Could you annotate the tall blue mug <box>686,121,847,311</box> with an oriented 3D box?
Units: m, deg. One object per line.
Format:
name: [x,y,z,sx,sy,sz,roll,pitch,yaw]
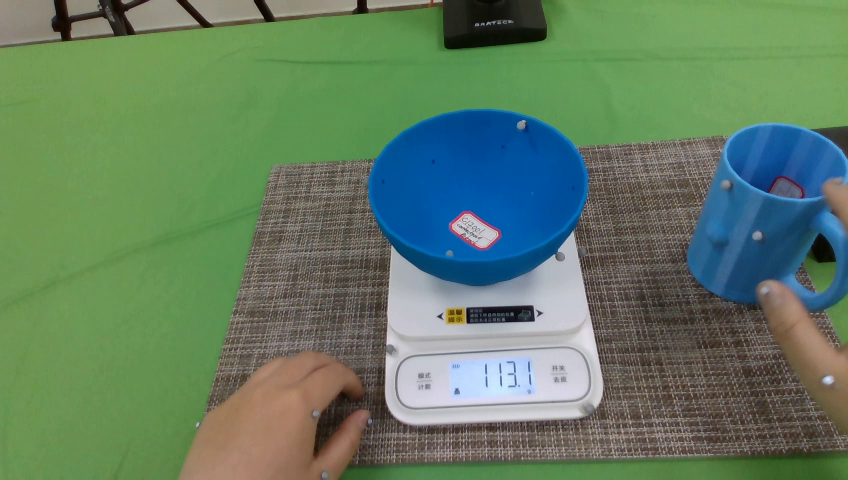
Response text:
tall blue mug: [0.250,-0.011,0.424,0.106,0.109,0.077,29,58,28]

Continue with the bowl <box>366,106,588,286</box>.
bowl: [0.038,-0.020,0.440,0.151,0.077,0.150,-3,50,4]

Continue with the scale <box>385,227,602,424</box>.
scale: [0.047,0.038,0.460,0.148,0.032,0.199,-4,50,5]
